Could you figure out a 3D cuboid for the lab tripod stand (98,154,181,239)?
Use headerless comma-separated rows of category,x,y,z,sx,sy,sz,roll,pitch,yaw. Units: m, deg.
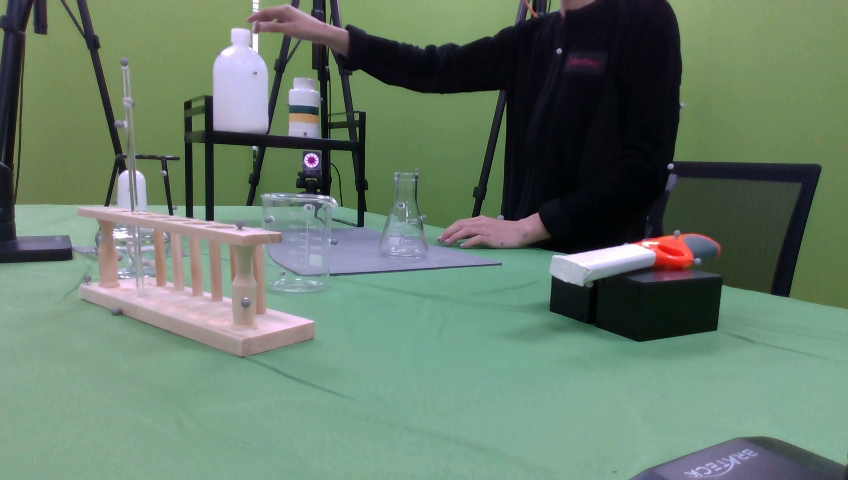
lab tripod stand,-0.427,-0.066,0.942,0.148,0.131,0.148,1,6,0

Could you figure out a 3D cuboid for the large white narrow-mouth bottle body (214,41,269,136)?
large white narrow-mouth bottle body,-0.352,-0.301,1.166,0.102,0.194,0.102,1,8,0

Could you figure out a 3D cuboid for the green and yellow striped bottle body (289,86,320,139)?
green and yellow striped bottle body,-0.250,-0.272,1.261,0.063,0.119,0.063,3,7,0

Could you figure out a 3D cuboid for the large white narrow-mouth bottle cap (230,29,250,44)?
large white narrow-mouth bottle cap,-0.351,-0.387,1.152,0.038,0.024,0.037,1,8,0

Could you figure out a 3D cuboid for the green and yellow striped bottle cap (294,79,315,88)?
green and yellow striped bottle cap,-0.248,-0.323,1.256,0.045,0.020,0.045,3,9,0

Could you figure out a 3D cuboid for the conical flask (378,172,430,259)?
conical flask,-0.027,-0.037,0.869,0.075,0.122,0.075,2,7,0

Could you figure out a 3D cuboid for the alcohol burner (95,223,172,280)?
alcohol burner,-0.320,-0.017,0.667,0.078,0.119,0.078,0,7,0

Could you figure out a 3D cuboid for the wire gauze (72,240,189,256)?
wire gauze,-0.399,0.013,0.820,0.126,0.011,0.121,-3,8,-37

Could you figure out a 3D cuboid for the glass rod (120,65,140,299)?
glass rod,-0.249,-0.047,0.513,0.008,0.199,0.008,-1,4,0

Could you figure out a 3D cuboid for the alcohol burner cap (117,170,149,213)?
alcohol burner cap,-0.320,-0.052,0.661,0.034,0.048,0.034,-3,0,0

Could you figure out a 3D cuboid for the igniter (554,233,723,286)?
igniter,0.214,0.015,0.570,0.278,0.025,0.057,-5,22,-44

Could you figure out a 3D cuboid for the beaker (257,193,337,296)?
beaker,-0.130,0.003,0.628,0.084,0.100,0.074,5,8,15

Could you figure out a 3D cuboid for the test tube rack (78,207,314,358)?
test tube rack,-0.197,0.024,0.499,0.241,0.085,0.067,8,8,37
